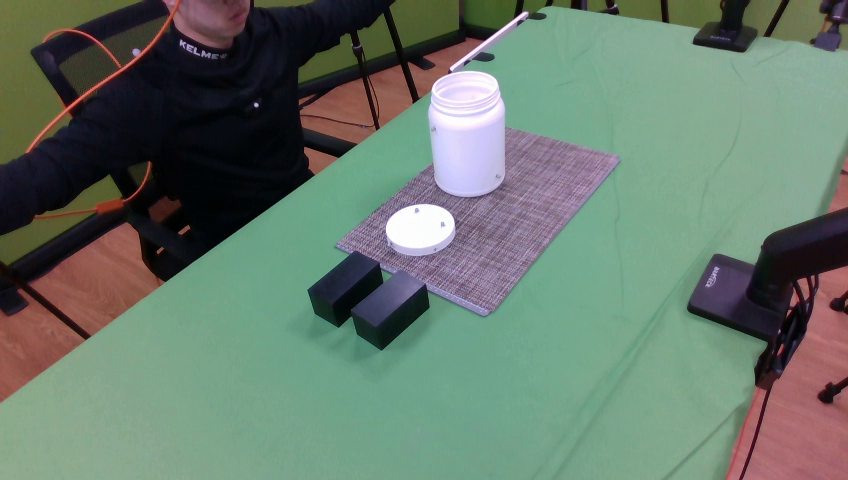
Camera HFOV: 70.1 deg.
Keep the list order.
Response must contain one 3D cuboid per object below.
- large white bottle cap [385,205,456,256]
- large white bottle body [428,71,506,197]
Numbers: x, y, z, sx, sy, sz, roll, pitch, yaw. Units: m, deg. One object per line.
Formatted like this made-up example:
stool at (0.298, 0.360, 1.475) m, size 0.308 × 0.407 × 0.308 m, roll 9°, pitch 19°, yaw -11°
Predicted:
large white bottle cap at (-0.006, -0.018, 0.987) m, size 0.115 × 0.018 × 0.114 m, roll -4°, pitch 40°, yaw 4°
large white bottle body at (0.075, -0.181, 1.038) m, size 0.130 × 0.185 × 0.130 m, roll -4°, pitch 41°, yaw 4°
